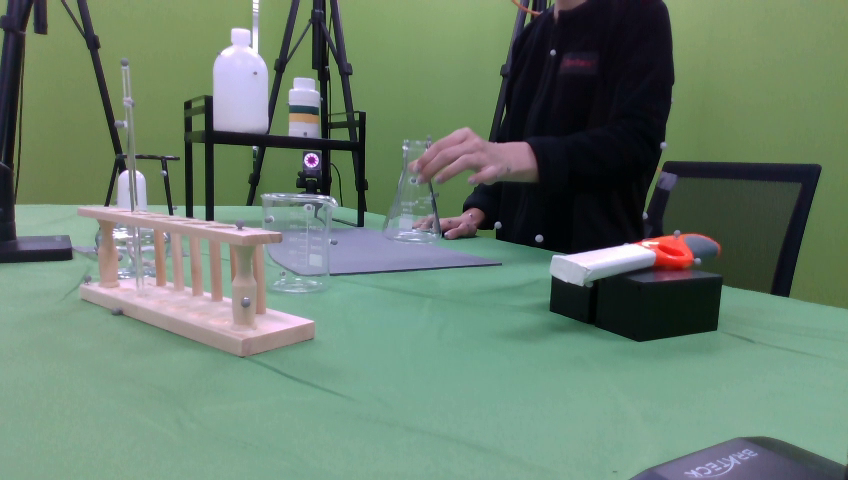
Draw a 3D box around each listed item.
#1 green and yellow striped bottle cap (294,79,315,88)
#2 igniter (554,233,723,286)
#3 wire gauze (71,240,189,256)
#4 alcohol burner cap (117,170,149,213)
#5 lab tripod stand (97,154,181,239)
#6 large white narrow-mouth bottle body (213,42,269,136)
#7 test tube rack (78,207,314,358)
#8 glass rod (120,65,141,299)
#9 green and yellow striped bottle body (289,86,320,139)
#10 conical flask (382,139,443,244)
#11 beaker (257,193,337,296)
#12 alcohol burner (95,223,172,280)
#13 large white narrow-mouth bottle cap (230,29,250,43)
[{"bbox_3d":[-0.248,-0.323,1.256,0.045,0.020,0.045,3,9,0],"label":"green and yellow striped bottle cap"},{"bbox_3d":[0.214,0.015,0.570,0.278,0.025,0.057,-5,22,-44],"label":"igniter"},{"bbox_3d":[-0.399,0.013,0.820,0.126,0.011,0.121,-3,8,-37],"label":"wire gauze"},{"bbox_3d":[-0.320,-0.052,0.661,0.034,0.048,0.034,-3,0,0],"label":"alcohol burner cap"},{"bbox_3d":[-0.427,-0.066,0.942,0.148,0.131,0.148,1,6,0],"label":"lab tripod stand"},{"bbox_3d":[-0.352,-0.301,1.166,0.102,0.194,0.102,1,8,0],"label":"large white narrow-mouth bottle body"},{"bbox_3d":[-0.196,0.024,0.500,0.241,0.085,0.067,8,8,37],"label":"test tube rack"},{"bbox_3d":[-0.249,-0.047,0.513,0.008,0.199,0.008,-1,4,0],"label":"glass rod"},{"bbox_3d":[-0.250,-0.272,1.261,0.063,0.119,0.063,3,7,0],"label":"green and yellow striped bottle body"},{"bbox_3d":[-0.011,-0.059,0.733,0.075,0.122,0.075,4,11,0],"label":"conical flask"},{"bbox_3d":[-0.130,0.003,0.628,0.084,0.100,0.074,5,8,15],"label":"beaker"},{"bbox_3d":[-0.320,-0.016,0.667,0.078,0.119,0.078,0,7,0],"label":"alcohol burner"},{"bbox_3d":[-0.351,-0.386,1.152,0.038,0.024,0.037,1,8,0],"label":"large white narrow-mouth bottle cap"}]
